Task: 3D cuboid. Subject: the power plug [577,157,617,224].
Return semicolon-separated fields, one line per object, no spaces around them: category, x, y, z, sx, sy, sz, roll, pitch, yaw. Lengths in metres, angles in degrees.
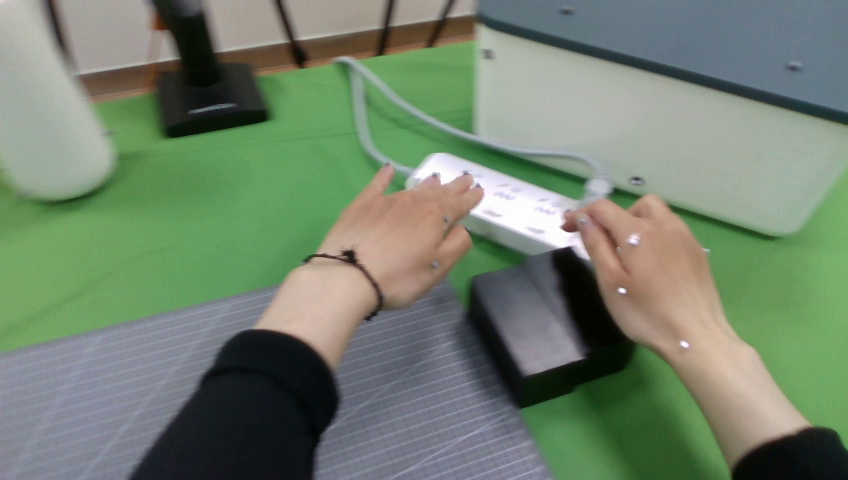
power plug;0.174;-0.039;0.577;0.035;0.053;0.072;30;48;26

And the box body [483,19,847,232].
box body;0.268;-0.183;0.658;0.362;0.162;0.253;21;50;16

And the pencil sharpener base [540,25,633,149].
pencil sharpener base;0.178;-0.168;0.667;0.061;0.108;0.076;27;51;20

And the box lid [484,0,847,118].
box lid;0.271;-0.232;0.603;0.370;0.015;0.262;21;50;16

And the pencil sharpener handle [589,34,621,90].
pencil sharpener handle;0.208;-0.206;0.688;0.035;0.068;0.030;22;49;25

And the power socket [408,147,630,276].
power socket;0.093;-0.032;0.598;0.225;0.033;0.072;23;50;18

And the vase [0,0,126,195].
vase;-0.352;-0.138;0.559;0.098;0.202;0.097;2;46;-2
